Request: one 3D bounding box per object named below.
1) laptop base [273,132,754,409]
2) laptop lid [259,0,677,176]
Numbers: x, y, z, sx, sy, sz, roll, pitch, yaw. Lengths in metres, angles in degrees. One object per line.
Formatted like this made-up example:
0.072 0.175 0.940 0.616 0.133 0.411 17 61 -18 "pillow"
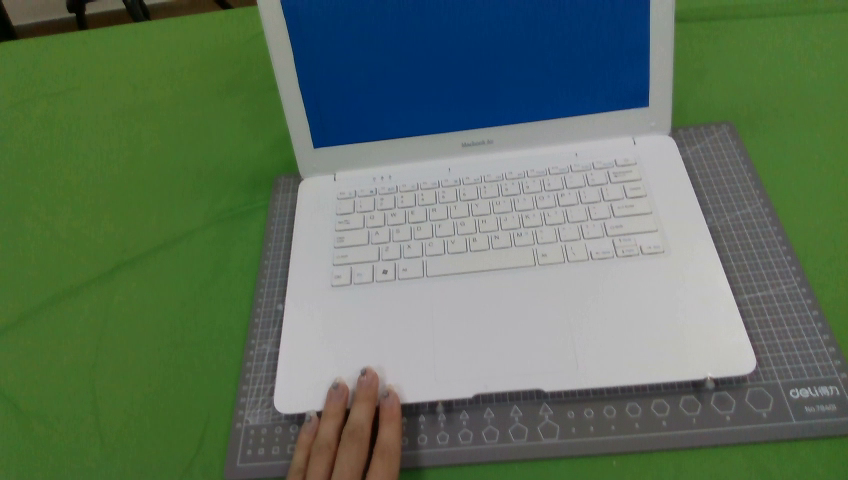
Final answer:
0.057 0.017 0.509 0.354 0.023 0.233 -6 56 5 "laptop base"
0.039 -0.181 0.526 0.356 0.243 0.013 -7 26 5 "laptop lid"
